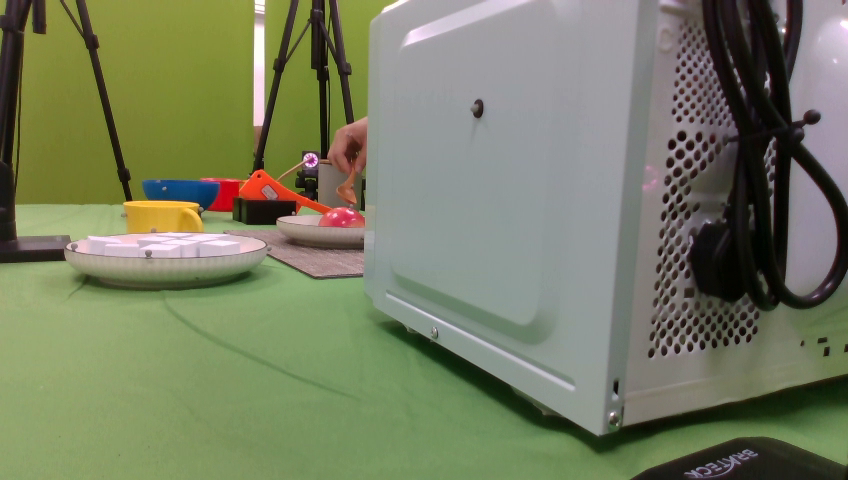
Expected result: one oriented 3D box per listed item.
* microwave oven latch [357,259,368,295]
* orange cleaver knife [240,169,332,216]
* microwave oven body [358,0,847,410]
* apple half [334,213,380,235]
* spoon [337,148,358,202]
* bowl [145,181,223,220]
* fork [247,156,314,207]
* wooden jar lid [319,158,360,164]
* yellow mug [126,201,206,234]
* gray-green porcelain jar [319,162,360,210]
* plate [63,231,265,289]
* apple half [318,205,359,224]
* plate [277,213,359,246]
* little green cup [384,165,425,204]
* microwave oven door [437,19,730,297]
[{"bbox_3d":[-0.019,0.031,0.529,0.079,0.029,0.030,-1,7,-26],"label":"microwave oven latch"},{"bbox_3d":[-0.286,-0.082,1.298,0.212,0.077,0.012,25,-2,-31],"label":"orange cleaver knife"},{"bbox_3d":[0.210,-0.051,0.471,0.444,0.260,0.324,-1,7,-28],"label":"microwave oven body"},{"bbox_3d":[-0.112,-0.029,1.033,0.081,0.033,0.081,0,10,0],"label":"apple half"},{"bbox_3d":[-0.130,-0.122,1.091,0.042,0.021,0.193,36,29,-22],"label":"spoon"},{"bbox_3d":[-0.499,-0.081,1.261,0.151,0.077,0.151,2,7,0],"label":"bowl"},{"bbox_3d":[-0.360,-0.147,1.522,0.207,0.018,0.028,-43,14,-7],"label":"fork"},{"bbox_3d":[-0.203,-0.189,1.482,0.108,0.020,0.108,2,10,0],"label":"wooden jar lid"},{"bbox_3d":[-0.360,-0.019,0.866,0.130,0.064,0.100,6,9,27],"label":"yellow mug"},{"bbox_3d":[-0.204,-0.126,1.489,0.106,0.126,0.106,2,7,0],"label":"gray-green porcelain jar"},{"bbox_3d":[-0.288,0.021,0.687,0.208,0.039,0.207,2,8,0],"label":"plate"},{"bbox_3d":[-0.126,-0.028,0.954,0.081,0.053,0.074,-2,11,-33],"label":"apple half"},{"bbox_3d":[-0.135,-0.018,0.993,0.209,0.038,0.209,2,7,0],"label":"plate"},{"bbox_3d":[-0.029,-0.089,0.987,0.061,0.038,0.061,-32,-12,-8],"label":"little green cup"},{"bbox_3d":[0.181,-0.076,0.618,0.358,0.243,0.039,-2,8,-28],"label":"microwave oven door"}]
